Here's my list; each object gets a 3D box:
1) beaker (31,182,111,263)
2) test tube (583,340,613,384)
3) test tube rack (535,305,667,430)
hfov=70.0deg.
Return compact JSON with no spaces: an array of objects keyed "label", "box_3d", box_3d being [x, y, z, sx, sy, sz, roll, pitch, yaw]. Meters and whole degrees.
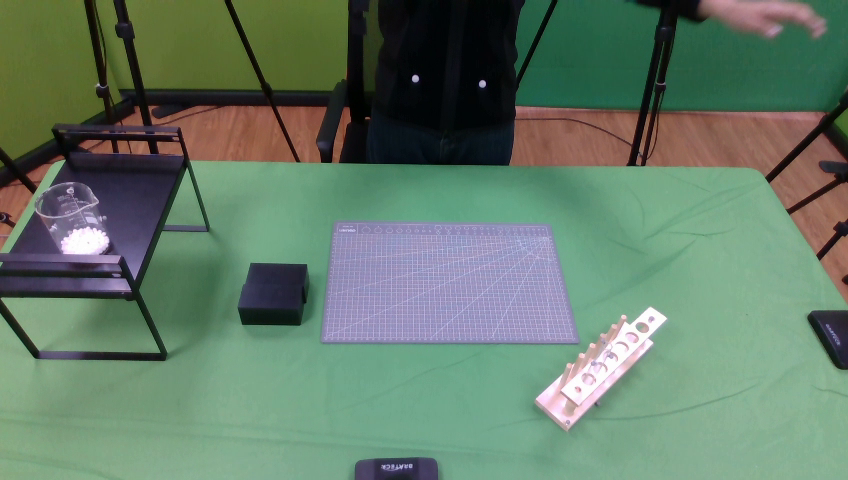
[{"label":"beaker","box_3d":[-0.502,-0.022,0.877,0.084,0.101,0.073,-2,47,-7]},{"label":"test tube","box_3d":[0.252,0.200,0.907,0.017,0.151,0.017,5,44,-4]},{"label":"test tube rack","box_3d":[0.290,0.193,0.984,0.242,0.085,0.066,-32,56,-30]}]
